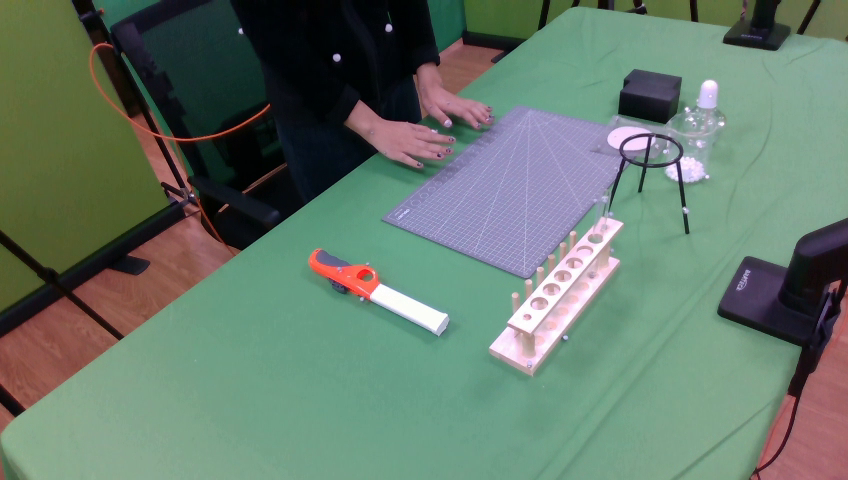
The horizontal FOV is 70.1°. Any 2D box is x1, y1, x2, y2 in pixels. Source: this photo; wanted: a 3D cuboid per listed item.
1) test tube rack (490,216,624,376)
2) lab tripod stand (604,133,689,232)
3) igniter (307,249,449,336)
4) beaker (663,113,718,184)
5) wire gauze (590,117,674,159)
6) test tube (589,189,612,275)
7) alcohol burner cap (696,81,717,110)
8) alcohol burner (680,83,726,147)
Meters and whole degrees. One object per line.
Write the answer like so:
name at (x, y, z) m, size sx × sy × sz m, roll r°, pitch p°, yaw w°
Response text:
test tube rack at (0.184, 0.064, 0.822) m, size 0.066 × 0.085 × 0.243 m, roll 24°, pitch 50°, yaw 33°
lab tripod stand at (0.347, -0.086, 0.932) m, size 0.148 × 0.132 × 0.147 m, roll -4°, pitch 40°, yaw 4°
igniter at (-0.079, 0.073, 0.905) m, size 0.274 × 0.025 × 0.057 m, roll 23°, pitch 61°, yaw 32°
beaker at (0.442, -0.151, 1.018) m, size 0.084 × 0.101 × 0.074 m, roll -1°, pitch 40°, yaw 11°
wire gauze at (0.393, -0.192, 1.139) m, size 0.120 × 0.011 × 0.125 m, roll 19°, pitch 47°, yaw 28°
test tube at (0.238, -0.007, 0.818) m, size 0.017 × 0.151 × 0.017 m, roll -3°, pitch 43°, yaw 4°
alcohol burner cap at (0.498, -0.256, 1.062) m, size 0.034 × 0.048 × 0.033 m, roll -6°, pitch 33°, yaw 4°
alcohol burner at (0.503, -0.228, 1.085) m, size 0.078 × 0.119 × 0.077 m, roll -4°, pitch 42°, yaw 4°
